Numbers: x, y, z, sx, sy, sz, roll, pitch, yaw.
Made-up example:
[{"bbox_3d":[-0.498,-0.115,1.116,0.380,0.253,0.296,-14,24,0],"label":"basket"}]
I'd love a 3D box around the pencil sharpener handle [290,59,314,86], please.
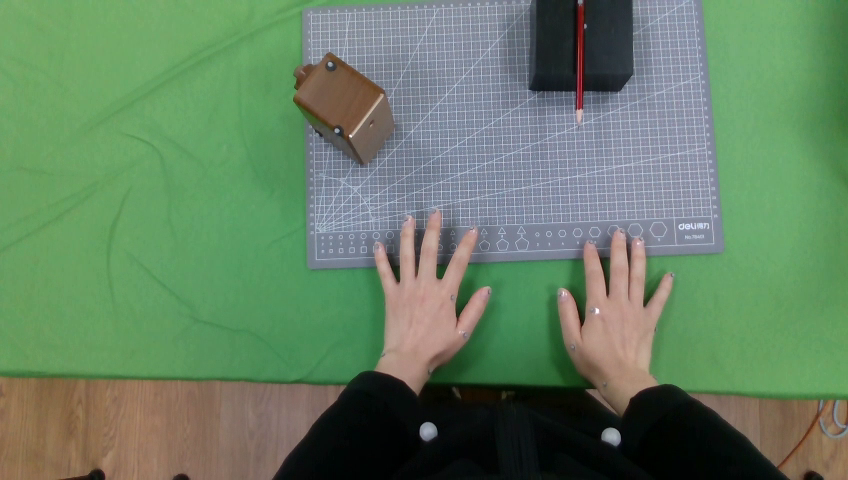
[{"bbox_3d":[-0.126,-0.168,0.615,0.030,0.068,0.036,36,78,6],"label":"pencil sharpener handle"}]

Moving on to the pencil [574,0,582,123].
[{"bbox_3d":[0.159,-0.215,0.624,0.012,0.012,0.193,1,85,2],"label":"pencil"}]

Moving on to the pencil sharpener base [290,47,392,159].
[{"bbox_3d":[-0.083,-0.138,0.623,0.076,0.107,0.061,36,87,6],"label":"pencil sharpener base"}]
